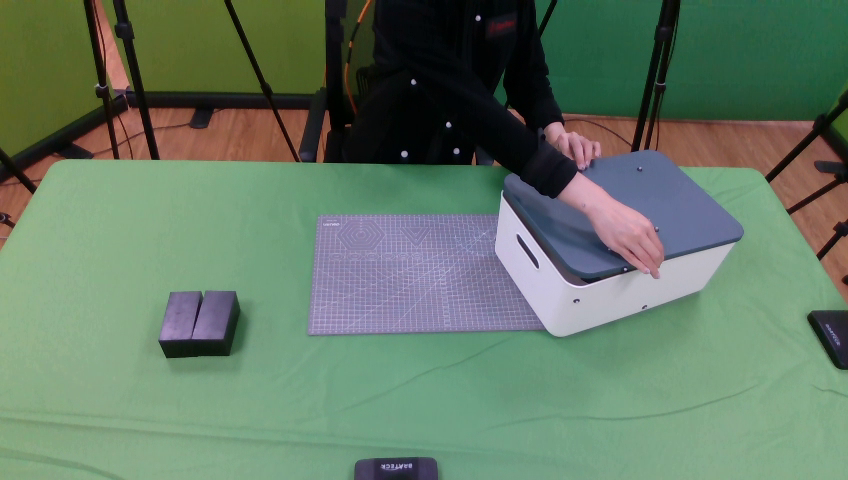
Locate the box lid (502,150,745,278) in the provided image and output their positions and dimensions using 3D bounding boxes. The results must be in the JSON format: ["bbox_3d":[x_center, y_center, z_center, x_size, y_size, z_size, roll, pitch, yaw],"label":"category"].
[{"bbox_3d":[0.343,-0.059,1.054,0.372,0.015,0.261,-12,46,-22],"label":"box lid"}]

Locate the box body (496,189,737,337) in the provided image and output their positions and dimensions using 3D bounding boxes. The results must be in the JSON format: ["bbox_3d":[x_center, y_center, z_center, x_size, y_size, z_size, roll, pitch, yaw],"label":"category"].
[{"bbox_3d":[0.340,0.003,1.118,0.364,0.161,0.252,-15,49,-18],"label":"box body"}]
